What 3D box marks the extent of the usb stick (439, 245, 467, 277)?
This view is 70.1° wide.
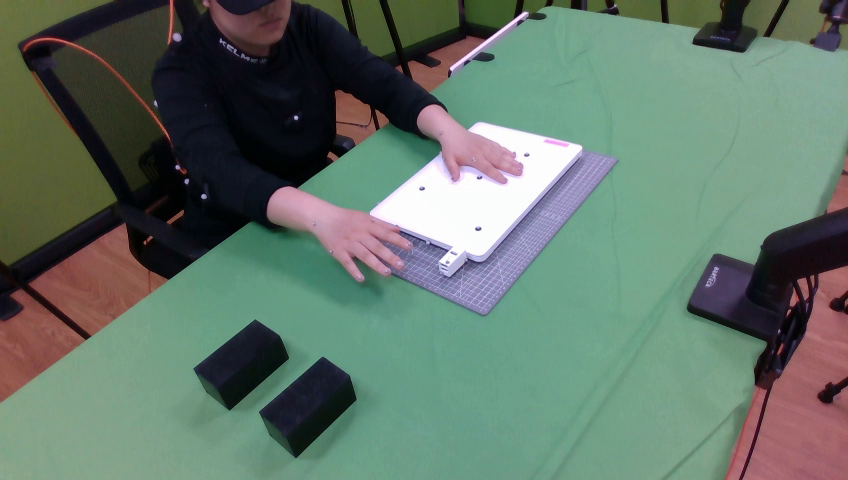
[{"bbox_3d":[0.048,0.028,0.913,0.021,0.027,0.059,24,46,31],"label":"usb stick"}]

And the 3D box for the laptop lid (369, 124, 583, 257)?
[{"bbox_3d":[0.098,-0.105,1.066,0.239,0.013,0.358,21,48,33],"label":"laptop lid"}]

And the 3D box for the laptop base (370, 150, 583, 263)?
[{"bbox_3d":[0.101,-0.097,1.071,0.233,0.023,0.355,19,47,32],"label":"laptop base"}]
